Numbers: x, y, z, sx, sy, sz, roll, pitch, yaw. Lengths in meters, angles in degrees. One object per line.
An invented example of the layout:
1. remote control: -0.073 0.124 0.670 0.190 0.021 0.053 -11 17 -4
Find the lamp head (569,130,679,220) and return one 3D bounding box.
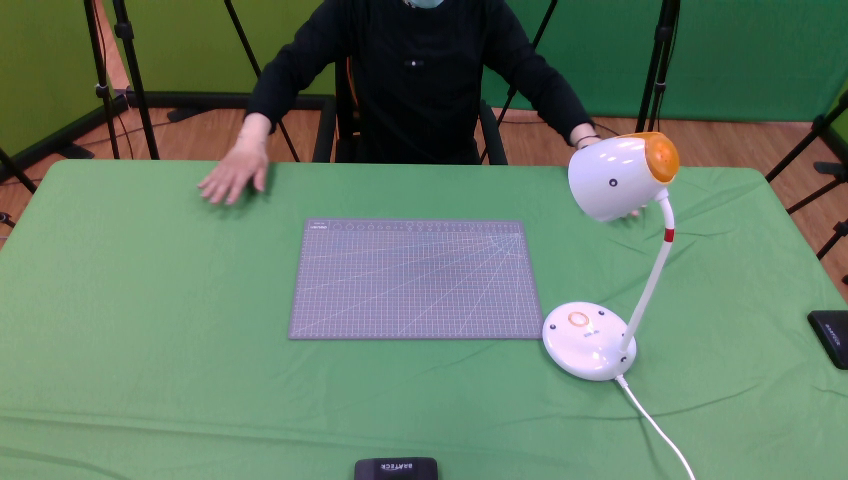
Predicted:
1. lamp head: 0.272 -0.090 0.798 0.113 0.122 0.112 7 78 -33

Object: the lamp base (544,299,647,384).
1. lamp base: 0.299 0.124 0.984 0.161 0.181 0.178 -23 55 -23
